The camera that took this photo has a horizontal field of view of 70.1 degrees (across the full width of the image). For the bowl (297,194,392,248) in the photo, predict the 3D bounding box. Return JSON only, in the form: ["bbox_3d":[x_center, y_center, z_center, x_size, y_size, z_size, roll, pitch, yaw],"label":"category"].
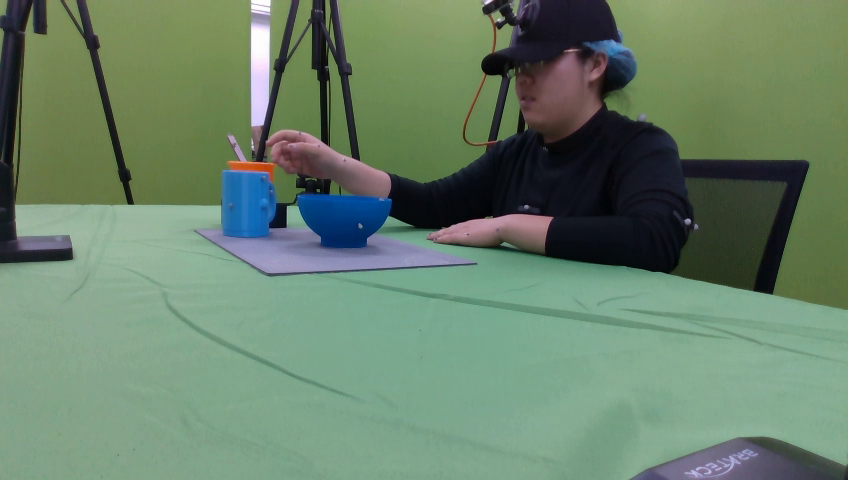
[{"bbox_3d":[-0.127,-0.030,0.963,0.151,0.077,0.151,2,7,0],"label":"bowl"}]

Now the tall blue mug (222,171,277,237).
[{"bbox_3d":[-0.302,-0.064,1.043,0.078,0.108,0.107,1,7,-3],"label":"tall blue mug"}]

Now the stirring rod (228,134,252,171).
[{"bbox_3d":[-0.353,-0.148,1.197,0.014,0.006,0.175,-5,53,-45],"label":"stirring rod"}]
